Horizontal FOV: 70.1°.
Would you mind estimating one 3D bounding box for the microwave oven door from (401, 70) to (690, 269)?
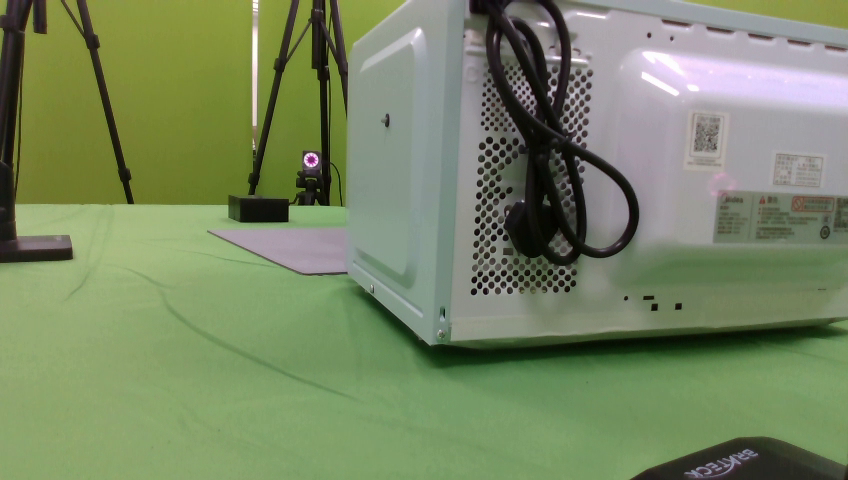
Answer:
[{"bbox_3d":[0.153,-0.092,0.790,0.356,0.243,0.039,3,8,3],"label":"microwave oven door"}]

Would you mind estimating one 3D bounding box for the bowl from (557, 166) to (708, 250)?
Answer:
[{"bbox_3d":[0.214,-0.035,0.640,0.151,0.077,0.151,2,11,0],"label":"bowl"}]

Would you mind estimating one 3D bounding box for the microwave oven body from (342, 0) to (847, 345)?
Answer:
[{"bbox_3d":[0.169,-0.060,0.573,0.444,0.260,0.324,1,7,-20],"label":"microwave oven body"}]

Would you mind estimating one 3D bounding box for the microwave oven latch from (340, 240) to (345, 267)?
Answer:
[{"bbox_3d":[-0.052,0.016,0.662,0.079,0.029,0.030,1,7,-18],"label":"microwave oven latch"}]
